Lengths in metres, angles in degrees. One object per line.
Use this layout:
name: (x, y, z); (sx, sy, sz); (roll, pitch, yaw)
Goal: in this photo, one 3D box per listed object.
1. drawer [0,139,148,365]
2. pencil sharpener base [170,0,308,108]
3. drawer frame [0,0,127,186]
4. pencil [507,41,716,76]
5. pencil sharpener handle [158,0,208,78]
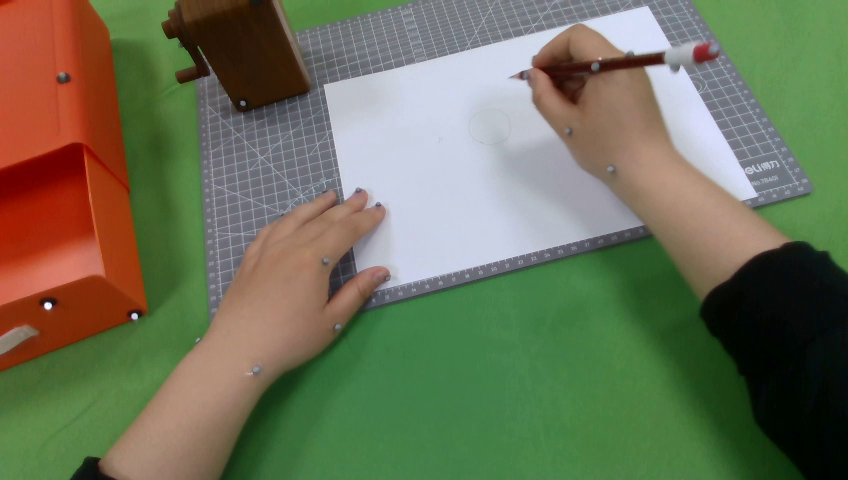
drawer: (-0.331, -0.011, 0.459); (0.194, 0.074, 0.209); (-22, 62, -4)
pencil sharpener base: (-0.151, -0.172, 0.502); (0.077, 0.108, 0.061); (-20, 62, -2)
drawer frame: (-0.373, -0.106, 0.513); (0.202, 0.083, 0.211); (-21, 61, -4)
pencil: (0.104, -0.113, 0.388); (0.012, 0.012, 0.192); (-38, 24, -13)
pencil sharpener handle: (-0.200, -0.160, 0.488); (0.030, 0.068, 0.035); (-20, 58, -2)
